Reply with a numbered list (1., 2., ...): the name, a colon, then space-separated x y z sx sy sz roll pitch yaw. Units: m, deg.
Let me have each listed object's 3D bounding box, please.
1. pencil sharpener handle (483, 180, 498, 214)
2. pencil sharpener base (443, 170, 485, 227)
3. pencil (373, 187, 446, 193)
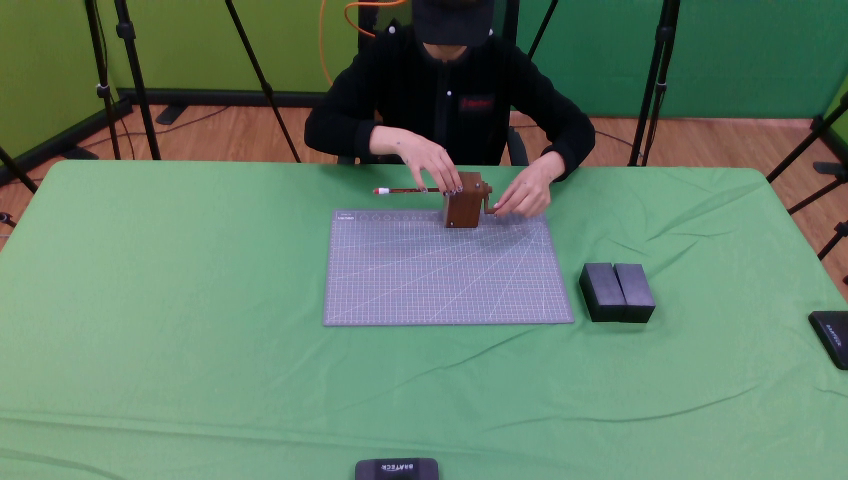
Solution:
1. pencil sharpener handle: 0.133 -0.086 1.205 0.031 0.036 0.067 0 91 -5
2. pencil sharpener base: 0.080 -0.082 1.220 0.077 0.107 0.061 0 46 -5
3. pencil: -0.003 -0.100 1.197 0.194 0.012 0.012 -1 46 -3
